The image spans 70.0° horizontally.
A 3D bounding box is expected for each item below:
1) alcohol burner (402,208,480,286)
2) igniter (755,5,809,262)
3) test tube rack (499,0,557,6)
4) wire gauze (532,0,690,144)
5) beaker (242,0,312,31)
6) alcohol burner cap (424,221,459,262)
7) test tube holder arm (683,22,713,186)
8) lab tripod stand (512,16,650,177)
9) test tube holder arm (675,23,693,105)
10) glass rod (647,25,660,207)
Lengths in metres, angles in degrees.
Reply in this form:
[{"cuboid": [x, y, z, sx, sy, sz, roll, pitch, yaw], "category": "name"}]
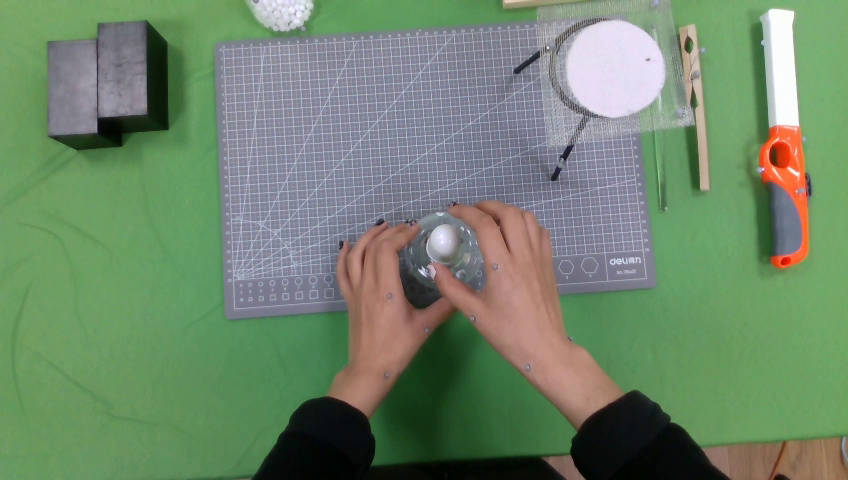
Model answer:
[{"cuboid": [0.017, 0.004, 0.582, 0.078, 0.119, 0.077, 0, 81, 1], "category": "alcohol burner"}, {"cuboid": [0.377, -0.113, 0.642, 0.057, 0.025, 0.275, 2, 84, -10], "category": "igniter"}, {"cuboid": [0.200, -0.309, 0.632, 0.242, 0.085, 0.066, -7, 83, -1], "category": "test tube rack"}, {"cuboid": [0.158, -0.150, 0.521, 0.121, 0.011, 0.124, -6, 83, 1], "category": "wire gauze"}, {"cuboid": [-0.160, -0.267, 0.619, 0.084, 0.100, 0.074, 14, 83, 2], "category": "beaker"}, {"cuboid": [0.017, -0.001, 0.546, 0.034, 0.048, 0.033, 1, 74, -3], "category": "alcohol burner cap"}, {"cuboid": [0.291, -0.146, 0.647, 0.013, 0.015, 0.178, -11, 82, 36], "category": "test tube holder arm"}, {"cuboid": [0.148, -0.146, 0.588, 0.148, 0.132, 0.148, 0, 84, 2], "category": "lab tripod stand"}, {"cuboid": [0.283, -0.190, 0.655, 0.010, 0.015, 0.087, -9, 83, 36], "category": "test tube holder arm"}, {"cuboid": [0.248, -0.134, 0.654, 0.008, 0.008, 0.199, -1, 87, -1], "category": "glass rod"}]
